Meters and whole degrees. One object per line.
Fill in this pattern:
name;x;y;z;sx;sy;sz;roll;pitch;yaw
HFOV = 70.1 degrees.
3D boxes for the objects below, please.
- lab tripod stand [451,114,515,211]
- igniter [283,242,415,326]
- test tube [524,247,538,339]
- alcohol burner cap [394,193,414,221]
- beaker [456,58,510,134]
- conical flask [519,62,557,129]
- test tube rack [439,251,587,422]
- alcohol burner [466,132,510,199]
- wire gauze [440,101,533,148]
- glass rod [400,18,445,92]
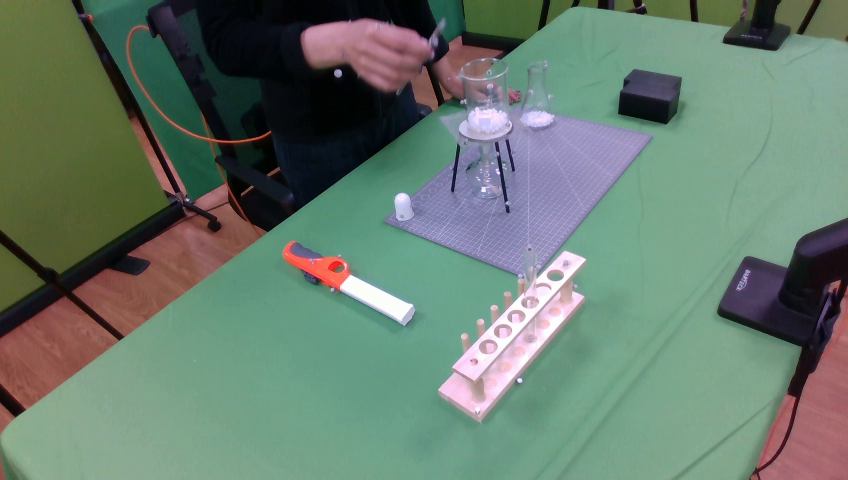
lab tripod stand;0.113;-0.140;1.037;0.148;0.132;0.147;-6;38;5
igniter;-0.126;0.062;0.931;0.274;0.025;0.057;24;61;33
test tube;0.133;0.070;0.749;0.017;0.151;0.017;-5;38;4
alcohol burner cap;-0.036;-0.059;1.040;0.034;0.048;0.033;-5;41;5
beaker;0.097;-0.226;0.964;0.084;0.101;0.073;-8;39;3
conical flask;0.225;-0.288;1.199;0.075;0.122;0.075;-6;40;5
test tube rack;0.118;0.111;0.780;0.066;0.085;0.243;26;51;35
alcohol burner;0.110;-0.132;1.044;0.078;0.119;0.077;-6;38;5
wire gauze;0.100;-0.189;0.995;0.125;0.011;0.120;-16;38;-6
glass rod;-0.005;-0.258;0.862;0.008;0.199;0.008;5;75;-17
